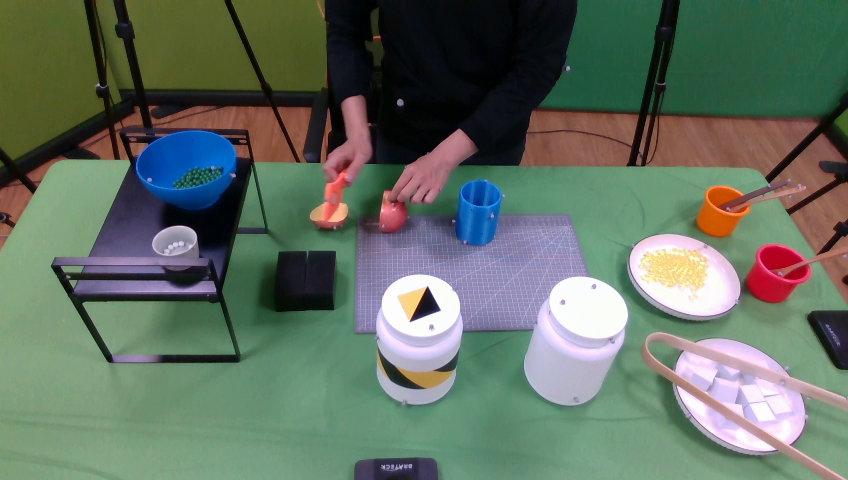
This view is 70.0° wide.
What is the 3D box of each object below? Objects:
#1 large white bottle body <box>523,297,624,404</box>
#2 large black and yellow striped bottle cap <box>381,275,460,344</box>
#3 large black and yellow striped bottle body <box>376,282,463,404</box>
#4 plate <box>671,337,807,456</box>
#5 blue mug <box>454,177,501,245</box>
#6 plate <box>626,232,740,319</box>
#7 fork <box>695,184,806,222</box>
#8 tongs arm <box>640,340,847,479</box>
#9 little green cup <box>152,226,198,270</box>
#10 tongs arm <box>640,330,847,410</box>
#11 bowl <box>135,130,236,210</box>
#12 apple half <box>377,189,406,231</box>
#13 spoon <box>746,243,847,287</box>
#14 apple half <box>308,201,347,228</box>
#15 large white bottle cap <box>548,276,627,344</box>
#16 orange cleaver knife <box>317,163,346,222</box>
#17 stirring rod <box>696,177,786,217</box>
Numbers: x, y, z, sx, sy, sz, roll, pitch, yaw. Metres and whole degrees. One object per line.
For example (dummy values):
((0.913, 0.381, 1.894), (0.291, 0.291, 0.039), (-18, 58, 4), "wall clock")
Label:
((0.235, 0.159, 0.952), (0.131, 0.185, 0.130), (2, 47, -2), "large white bottle body")
((-0.005, 0.099, 0.875), (0.115, 0.019, 0.114), (2, 45, -2), "large black and yellow striped bottle cap")
((-0.010, 0.155, 0.937), (0.131, 0.185, 0.130), (2, 47, -2), "large black and yellow striped bottle body")
((0.504, 0.254, 0.984), (0.208, 0.039, 0.206), (2, 46, -2), "plate")
((0.106, -0.067, 1.208), (0.082, 0.106, 0.116), (5, 46, 1), "blue mug")
((0.488, 0.071, 1.157), (0.209, 0.038, 0.208), (3, 46, -3), "plate")
((0.658, -0.074, 1.229), (0.207, 0.019, 0.028), (-24, 33, 36), "fork")
((0.500, 0.277, 0.919), (0.386, 0.028, 0.028), (34, 59, 22), "tongs arm")
((-0.364, 0.013, 0.894), (0.061, 0.039, 0.061), (3, 46, -3), "little green cup")
((0.543, 0.225, 0.969), (0.384, 0.026, 0.050), (22, 52, 13), "tongs arm")
((-0.375, -0.102, 0.978), (0.151, 0.077, 0.150), (3, 46, -2), "bowl")
((-0.063, -0.057, 1.207), (0.053, 0.075, 0.080), (6, 42, -3), "apple half")
((0.702, 0.043, 1.126), (0.194, 0.022, 0.041), (-29, 38, 30), "spoon")
((-0.190, -0.047, 1.219), (0.081, 0.033, 0.081), (-3, 34, 2), "apple half")
((0.240, 0.100, 0.890), (0.115, 0.018, 0.114), (3, 47, -3), "large white bottle cap")
((-0.173, -0.093, 1.134), (0.012, 0.077, 0.210), (5, 21, 3), "orange cleaver knife")
((0.648, -0.087, 1.244), (0.176, 0.006, 0.014), (-25, 50, 29), "stirring rod")
